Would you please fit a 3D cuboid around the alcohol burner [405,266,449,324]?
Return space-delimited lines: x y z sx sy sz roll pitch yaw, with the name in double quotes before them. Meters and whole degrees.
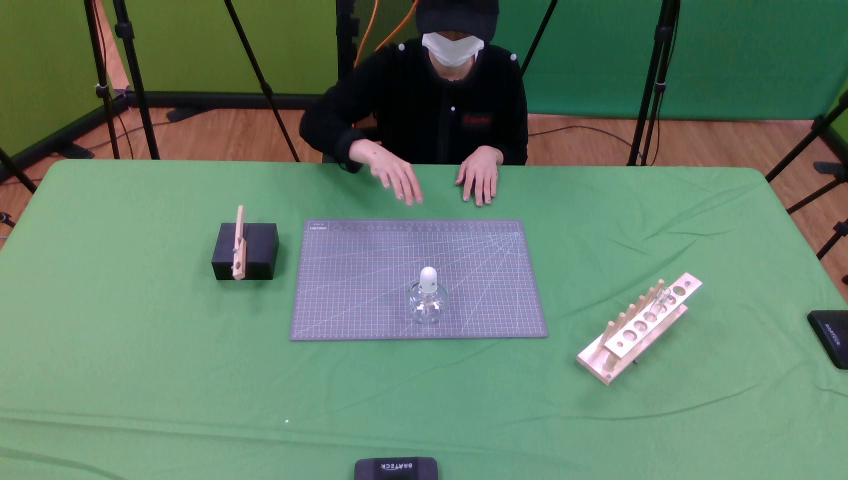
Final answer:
"alcohol burner" 0.005 0.089 1.043 0.078 0.120 0.077 1 44 -1

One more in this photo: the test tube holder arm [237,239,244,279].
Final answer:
"test tube holder arm" -0.325 0.032 1.076 0.010 0.015 0.087 -10 47 -7

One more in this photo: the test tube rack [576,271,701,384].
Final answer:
"test tube rack" 0.373 0.138 1.047 0.242 0.085 0.066 -31 56 -29

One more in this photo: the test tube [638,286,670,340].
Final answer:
"test tube" 0.373 0.122 0.994 0.017 0.151 0.017 0 51 0

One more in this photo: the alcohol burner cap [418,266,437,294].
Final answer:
"alcohol burner cap" 0.006 0.065 1.017 0.034 0.048 0.033 1 48 0

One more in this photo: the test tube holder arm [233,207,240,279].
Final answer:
"test tube holder arm" -0.341 0.002 1.106 0.013 0.015 0.177 -11 47 -8
